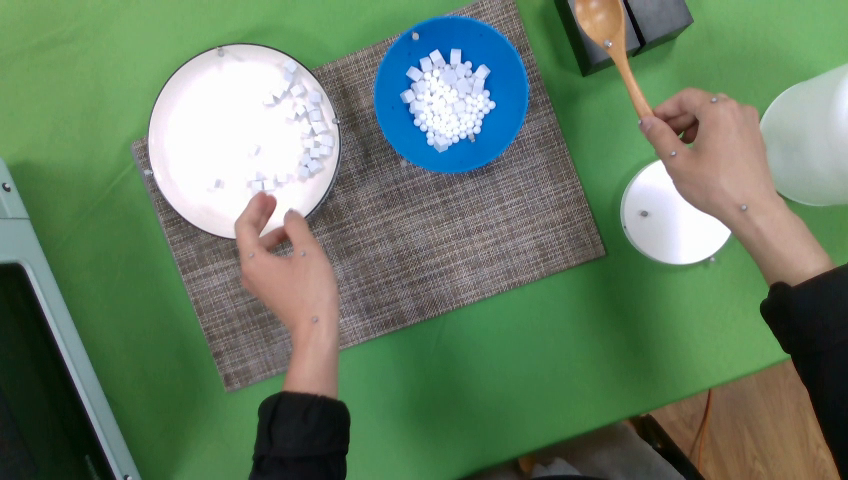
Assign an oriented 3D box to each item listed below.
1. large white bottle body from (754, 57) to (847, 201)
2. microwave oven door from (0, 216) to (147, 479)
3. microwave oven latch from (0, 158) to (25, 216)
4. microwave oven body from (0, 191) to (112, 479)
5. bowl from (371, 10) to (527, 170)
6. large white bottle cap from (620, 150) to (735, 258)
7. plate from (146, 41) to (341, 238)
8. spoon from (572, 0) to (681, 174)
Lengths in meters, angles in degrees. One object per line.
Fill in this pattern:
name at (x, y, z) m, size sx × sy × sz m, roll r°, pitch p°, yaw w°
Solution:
large white bottle body at (0.401, -0.103, 0.543) m, size 0.130 × 0.184 × 0.130 m, roll 0°, pitch 92°, yaw 4°
microwave oven door at (-0.394, 0.146, 0.564) m, size 0.039 × 0.244 × 0.355 m, roll -23°, pitch 91°, yaw 5°
microwave oven latch at (-0.470, -0.060, 0.660) m, size 0.030 × 0.029 × 0.079 m, roll -22°, pitch 92°, yaw 4°
microwave oven body at (-0.545, 0.163, 0.579) m, size 0.326 × 0.260 × 0.441 m, roll -23°, pitch 91°, yaw 4°
bowl at (0.026, -0.144, 0.616) m, size 0.151 × 0.077 × 0.151 m, roll 0°, pitch 93°, yaw 4°
large white bottle cap at (0.267, -0.037, 0.639) m, size 0.115 × 0.018 × 0.115 m, roll 0°, pitch 93°, yaw 3°
plate at (-0.190, -0.105, 0.653) m, size 0.209 × 0.038 × 0.209 m, roll 0°, pitch 92°, yaw 4°
spoon at (0.180, -0.145, 0.537) m, size 0.041 × 0.022 × 0.192 m, roll -27°, pitch 75°, yaw 34°
